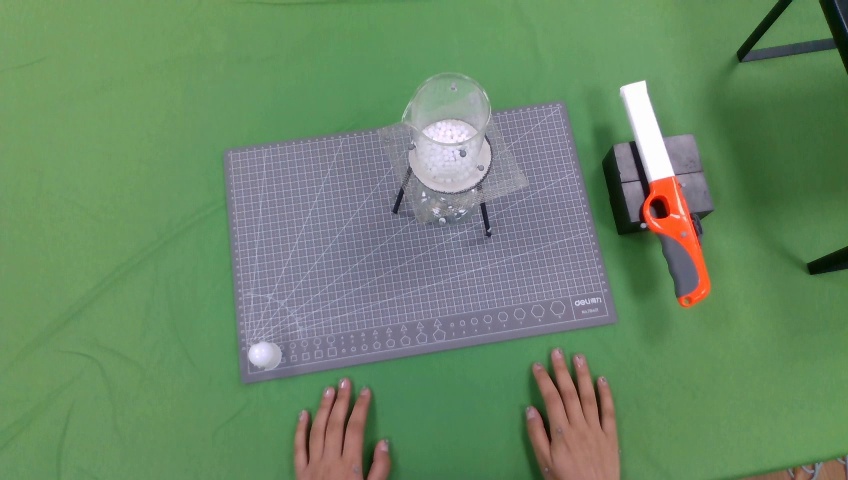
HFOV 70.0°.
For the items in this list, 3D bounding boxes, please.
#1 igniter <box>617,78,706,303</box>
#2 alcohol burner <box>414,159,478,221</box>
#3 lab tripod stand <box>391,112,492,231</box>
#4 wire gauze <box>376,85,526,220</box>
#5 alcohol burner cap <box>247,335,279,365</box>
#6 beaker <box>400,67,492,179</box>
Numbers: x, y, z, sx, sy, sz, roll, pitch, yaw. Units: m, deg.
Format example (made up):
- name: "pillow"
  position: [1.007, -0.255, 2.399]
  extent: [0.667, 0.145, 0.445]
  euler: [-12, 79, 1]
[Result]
- name: "igniter"
  position: [0.276, -0.063, 0.708]
  extent: [0.057, 0.025, 0.275]
  euler: [-13, 75, 8]
- name: "alcohol burner"
  position: [0.026, -0.064, 0.708]
  extent: [0.078, 0.119, 0.077]
  euler: [0, 77, 0]
- name: "lab tripod stand"
  position: [0.027, -0.082, 0.702]
  extent: [0.148, 0.132, 0.147]
  euler: [0, 73, 1]
- name: "wire gauze"
  position: [0.027, -0.093, 0.637]
  extent: [0.125, 0.011, 0.121]
  euler: [-21, 77, -8]
- name: "alcohol burner cap"
  position: [-0.187, 0.125, 0.695]
  extent: [0.034, 0.048, 0.033]
  euler: [0, 75, -1]
- name: "beaker"
  position: [0.020, -0.108, 0.591]
  extent: [0.084, 0.101, 0.073]
  euler: [-10, 74, -3]
